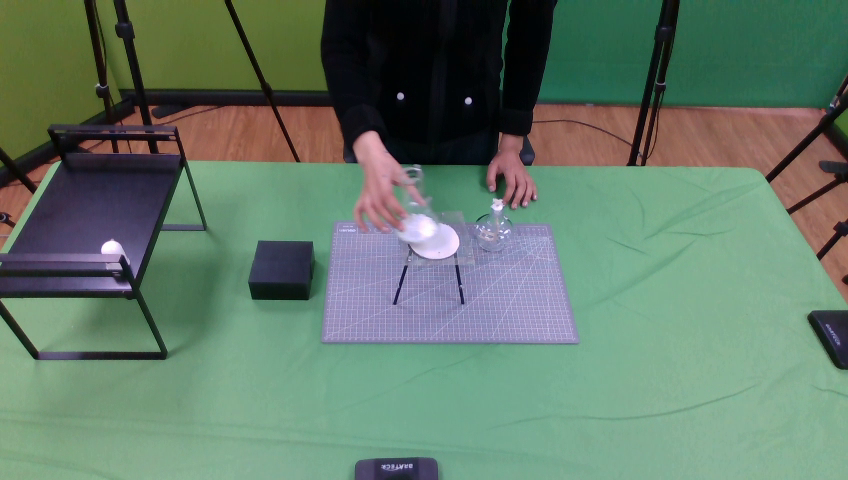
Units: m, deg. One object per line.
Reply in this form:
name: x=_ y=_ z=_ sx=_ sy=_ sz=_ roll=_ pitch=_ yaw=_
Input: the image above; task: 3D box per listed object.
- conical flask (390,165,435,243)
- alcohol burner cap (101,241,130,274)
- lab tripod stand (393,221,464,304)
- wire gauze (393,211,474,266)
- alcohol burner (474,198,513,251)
conical flask: x=-0.024 y=-0.059 z=0.965 sx=0.075 sy=0.122 sz=0.075 roll=-4 pitch=43 yaw=4
alcohol burner cap: x=-0.449 y=0.022 z=0.878 sx=0.034 sy=0.048 sz=0.033 roll=2 pitch=45 yaw=-2
lab tripod stand: x=0.010 y=0.045 z=1.075 sx=0.148 sy=0.132 sz=0.147 roll=2 pitch=48 yaw=-2
wire gauze: x=0.015 y=-0.003 z=1.028 sx=0.125 sy=0.011 sz=0.120 roll=-4 pitch=47 yaw=-7
alcohol burner: x=0.137 y=-0.035 z=1.176 sx=0.078 sy=0.120 sz=0.077 roll=1 pitch=47 yaw=-1
